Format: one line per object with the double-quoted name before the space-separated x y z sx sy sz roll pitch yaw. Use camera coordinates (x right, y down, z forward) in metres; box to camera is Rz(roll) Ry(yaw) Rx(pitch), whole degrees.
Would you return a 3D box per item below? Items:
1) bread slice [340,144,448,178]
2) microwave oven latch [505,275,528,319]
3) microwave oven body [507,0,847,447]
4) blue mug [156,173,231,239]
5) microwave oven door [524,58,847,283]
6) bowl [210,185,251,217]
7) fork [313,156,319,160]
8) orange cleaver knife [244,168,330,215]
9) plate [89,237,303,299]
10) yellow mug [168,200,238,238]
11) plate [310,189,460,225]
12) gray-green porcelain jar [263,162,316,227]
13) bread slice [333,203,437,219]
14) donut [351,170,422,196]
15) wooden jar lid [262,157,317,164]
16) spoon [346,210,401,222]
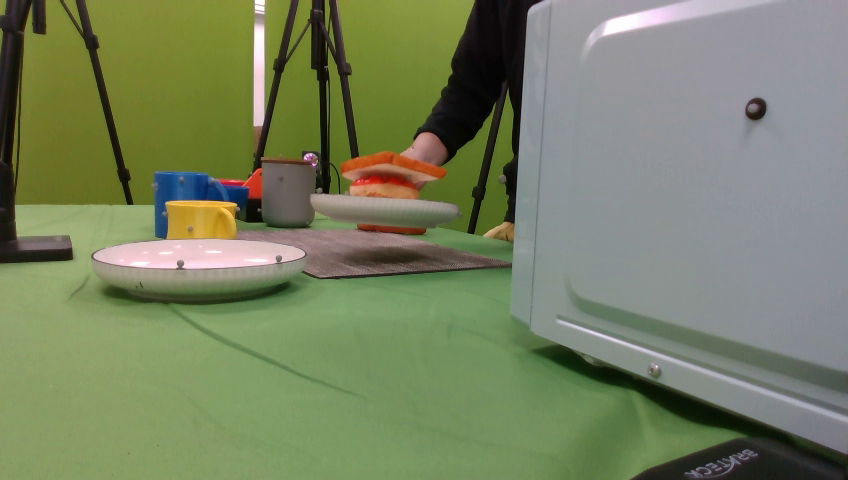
"bread slice" -0.052 -0.103 0.841 0.133 0.018 0.107 -4 -12 43
"microwave oven latch" 0.100 0.042 0.471 0.079 0.029 0.030 -1 7 -28
"microwave oven body" 0.331 -0.042 0.425 0.444 0.260 0.324 -2 8 -31
"blue mug" -0.381 -0.057 1.004 0.117 0.106 0.082 1 8 -12
"microwave oven door" 0.300 -0.090 0.748 0.354 0.243 0.039 6 9 32
"bowl" -0.408 -0.064 1.154 0.151 0.077 0.151 2 8 0
"fork" -0.331 -0.144 1.506 0.207 0.018 0.028 -42 -18 22
"orange cleaver knife" -0.300 -0.089 1.351 0.212 0.077 0.012 28 -9 -34
"plate" -0.233 0.029 0.636 0.208 0.039 0.207 2 7 0
"yellow mug" -0.320 -0.023 0.904 0.130 0.064 0.100 9 10 36
"plate" -0.055 -0.045 0.846 0.209 0.038 0.209 4 3 0
"gray-green porcelain jar" -0.271 -0.092 1.217 0.106 0.126 0.106 2 7 0
"bread slice" -0.045 -0.040 0.837 0.105 0.019 0.131 0 1 -44
"donut" -0.052 -0.072 0.845 0.099 0.048 0.099 3 5 0
"wooden jar lid" -0.269 -0.154 1.208 0.108 0.020 0.108 3 4 0
"spoon" -0.120 -0.060 1.400 0.042 0.021 0.192 -27 24 -38
